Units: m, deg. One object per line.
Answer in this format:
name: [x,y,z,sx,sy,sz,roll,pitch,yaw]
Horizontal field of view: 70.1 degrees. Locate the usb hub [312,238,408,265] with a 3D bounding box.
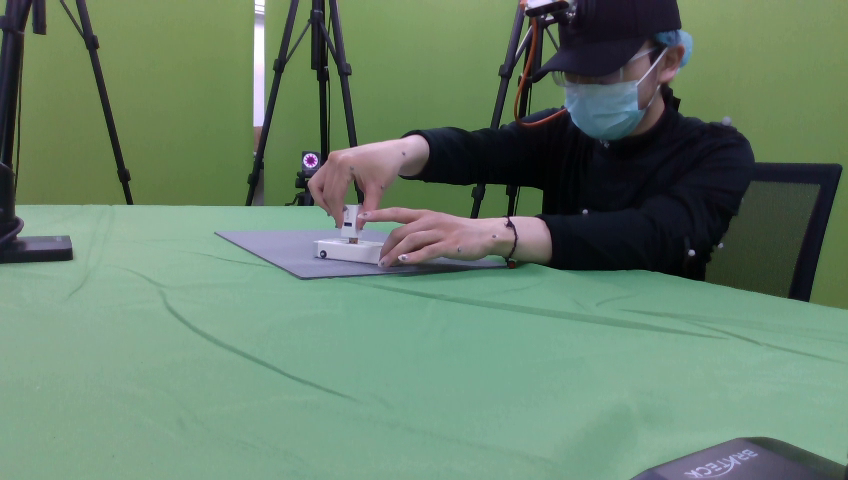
usb hub: [-0.088,0.015,0.829,0.125,0.025,0.050,4,7,22]

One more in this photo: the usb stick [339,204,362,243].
usb stick: [-0.099,-0.019,0.814,0.021,0.059,0.027,6,6,24]
